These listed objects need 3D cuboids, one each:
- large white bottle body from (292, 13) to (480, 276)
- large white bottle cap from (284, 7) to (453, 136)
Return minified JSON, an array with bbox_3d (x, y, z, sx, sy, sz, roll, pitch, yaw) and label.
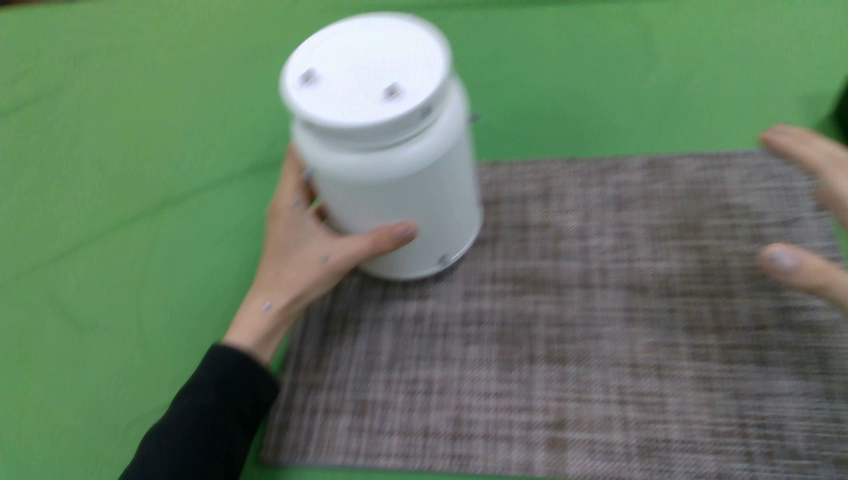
[{"bbox_3d":[-0.026,-0.069,0.480,0.130,0.186,0.129,-4,55,7],"label":"large white bottle body"},{"bbox_3d":[-0.038,-0.117,0.411,0.115,0.018,0.113,-4,55,6],"label":"large white bottle cap"}]
